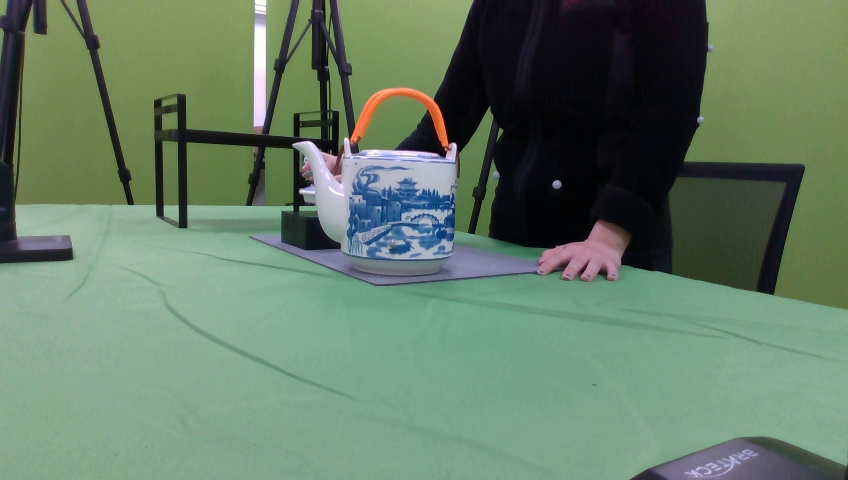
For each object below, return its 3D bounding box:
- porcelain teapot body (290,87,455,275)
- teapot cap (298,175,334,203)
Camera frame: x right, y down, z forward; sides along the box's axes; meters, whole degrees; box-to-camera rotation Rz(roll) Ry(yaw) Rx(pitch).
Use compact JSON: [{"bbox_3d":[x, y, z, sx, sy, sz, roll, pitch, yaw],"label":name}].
[{"bbox_3d":[-0.061,-0.076,0.754,0.206,0.225,0.145,0,8,-12],"label":"porcelain teapot body"},{"bbox_3d":[-0.157,-0.081,0.961,0.085,0.044,0.085,-2,10,1],"label":"teapot cap"}]
